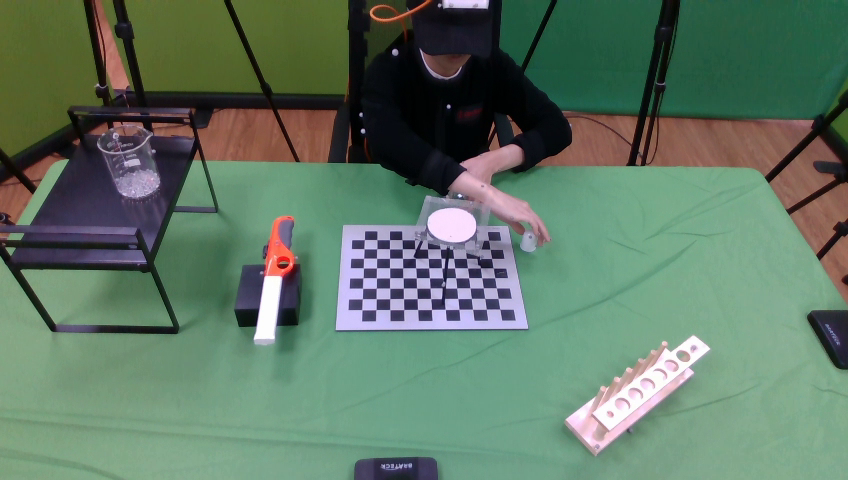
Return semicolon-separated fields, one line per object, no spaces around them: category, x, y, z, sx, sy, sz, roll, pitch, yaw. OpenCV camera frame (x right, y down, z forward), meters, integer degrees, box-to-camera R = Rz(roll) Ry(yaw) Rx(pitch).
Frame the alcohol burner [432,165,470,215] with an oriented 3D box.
alcohol burner;0.057;-0.109;1.240;0.078;0.119;0.077;3;48;-3

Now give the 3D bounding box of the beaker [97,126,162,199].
beaker;-0.468;-0.124;0.979;0.084;0.101;0.073;-25;53;-26

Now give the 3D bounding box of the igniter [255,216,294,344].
igniter;-0.258;0.059;1.051;0.057;0.025;0.274;2;48;-6

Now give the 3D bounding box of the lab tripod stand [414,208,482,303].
lab tripod stand;0.043;0.018;1.097;0.148;0.132;0.147;1;47;0

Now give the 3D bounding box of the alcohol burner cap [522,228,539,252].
alcohol burner cap;0.213;-0.002;1.197;0.034;0.048;0.033;0;47;0

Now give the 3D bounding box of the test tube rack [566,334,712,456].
test tube rack;0.338;0.228;0.950;0.242;0.085;0.066;-26;52;-26

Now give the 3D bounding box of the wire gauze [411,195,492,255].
wire gauze;0.049;-0.031;1.051;0.125;0.011;0.121;11;47;9
